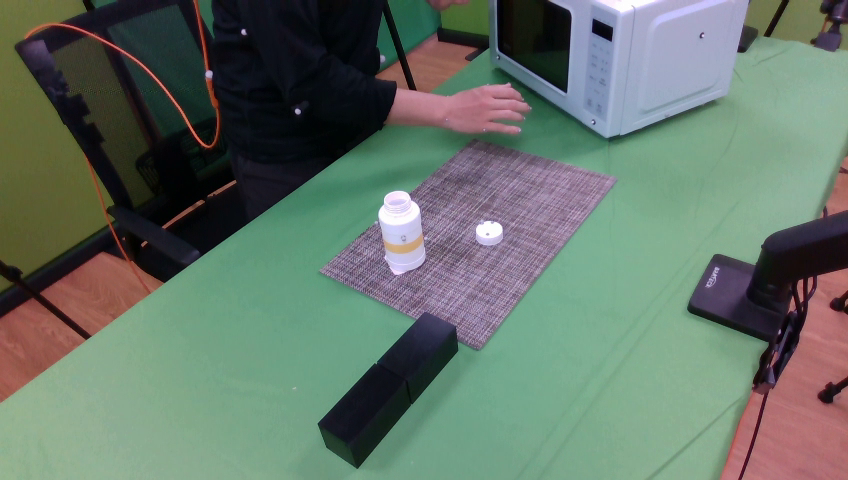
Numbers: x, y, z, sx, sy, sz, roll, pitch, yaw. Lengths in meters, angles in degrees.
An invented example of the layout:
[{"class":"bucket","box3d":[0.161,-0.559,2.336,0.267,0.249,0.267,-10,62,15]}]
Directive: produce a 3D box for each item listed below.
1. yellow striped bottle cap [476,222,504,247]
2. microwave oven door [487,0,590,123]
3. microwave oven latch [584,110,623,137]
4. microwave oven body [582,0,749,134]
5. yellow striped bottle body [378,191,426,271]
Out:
[{"class":"yellow striped bottle cap","box3d":[0.105,-0.010,0.966,0.044,0.019,0.044,-3,39,3]},{"class":"microwave oven door","box3d":[0.231,-0.420,1.230,0.039,0.245,0.352,-22,43,-16]},{"class":"microwave oven latch","box3d":[0.337,-0.222,1.142,0.030,0.029,0.078,-21,42,-14]},{"class":"microwave oven body","box3d":[0.382,-0.445,1.246,0.327,0.261,0.437,-22,42,-16]},{"class":"yellow striped bottle body","box3d":[-0.034,-0.016,0.910,0.063,0.121,0.062,-4,41,4]}]
